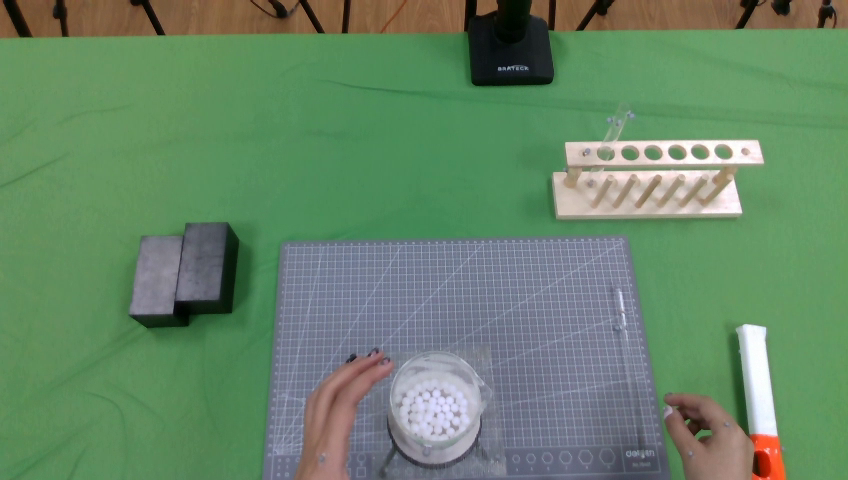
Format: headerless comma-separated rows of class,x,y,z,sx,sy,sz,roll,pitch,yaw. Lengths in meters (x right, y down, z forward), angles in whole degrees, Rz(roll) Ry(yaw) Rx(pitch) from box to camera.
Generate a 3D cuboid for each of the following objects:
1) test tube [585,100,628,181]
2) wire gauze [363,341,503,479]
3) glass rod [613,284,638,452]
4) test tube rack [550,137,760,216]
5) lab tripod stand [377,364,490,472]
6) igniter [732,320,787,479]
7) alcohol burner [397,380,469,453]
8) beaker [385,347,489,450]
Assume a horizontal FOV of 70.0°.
test tube,0.221,-0.117,0.741,0.017,0.151,0.017,0,63,0
wire gauze,0.006,0.157,0.570,0.125,0.011,0.120,-4,65,-1
glass rod,0.239,0.147,0.719,0.008,0.008,0.198,0,69,-1
test tube rack,0.294,-0.080,0.780,0.242,0.086,0.066,-1,66,-1
lab tripod stand,0.006,0.187,0.630,0.148,0.132,0.147,0,66,1
igniter,0.378,0.225,0.682,0.057,0.025,0.274,10,67,-8
alcohol burner,0.010,0.184,0.642,0.078,0.120,0.077,1,65,-2
beaker,0.010,0.141,0.525,0.084,0.101,0.073,-5,66,-3
